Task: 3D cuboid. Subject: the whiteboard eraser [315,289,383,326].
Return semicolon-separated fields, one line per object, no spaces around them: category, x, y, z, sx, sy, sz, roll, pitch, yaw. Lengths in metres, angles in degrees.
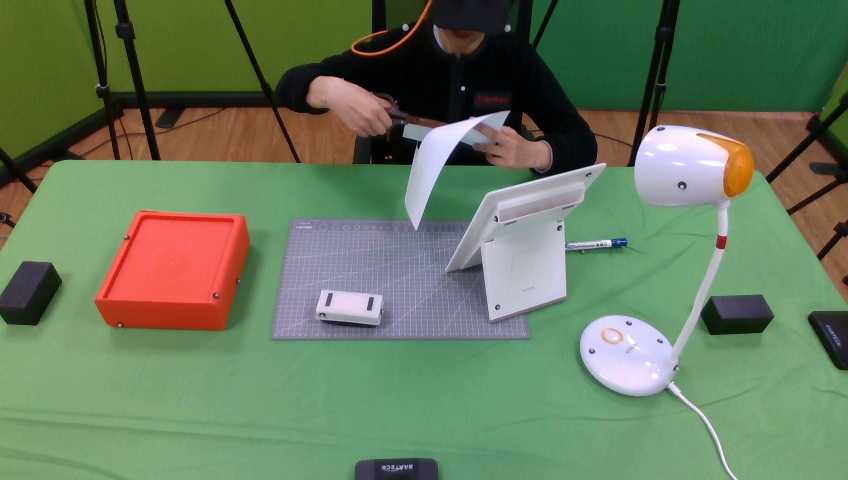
whiteboard eraser;-0.130;0.119;1.054;0.113;0.042;0.055;6;47;1

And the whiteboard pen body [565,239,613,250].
whiteboard pen body;0.331;0.008;1.211;0.141;0.017;0.017;-5;47;-4

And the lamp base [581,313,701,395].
lamp base;0.361;0.144;0.972;0.178;0.181;0.160;34;53;23

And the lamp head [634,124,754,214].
lamp head;0.351;-0.089;0.775;0.112;0.113;0.122;-30;30;-28

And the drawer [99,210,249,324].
drawer;-0.435;0.044;1.081;0.194;0.073;0.210;3;47;-2

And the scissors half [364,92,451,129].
scissors half;-0.030;-0.244;1.166;0.175;0.040;0.012;19;10;-10

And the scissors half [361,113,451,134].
scissors half;-0.034;-0.224;1.171;0.175;0.040;0.013;0;18;-5

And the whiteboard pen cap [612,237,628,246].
whiteboard pen cap;0.390;0.004;1.215;0.033;0.018;0.018;-7;47;-2

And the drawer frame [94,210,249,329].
drawer frame;-0.434;0.048;1.076;0.202;0.083;0.212;2;47;-3

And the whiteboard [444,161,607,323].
whiteboard;0.186;0.025;1.029;0.217;0.306;0.143;-14;68;-18
